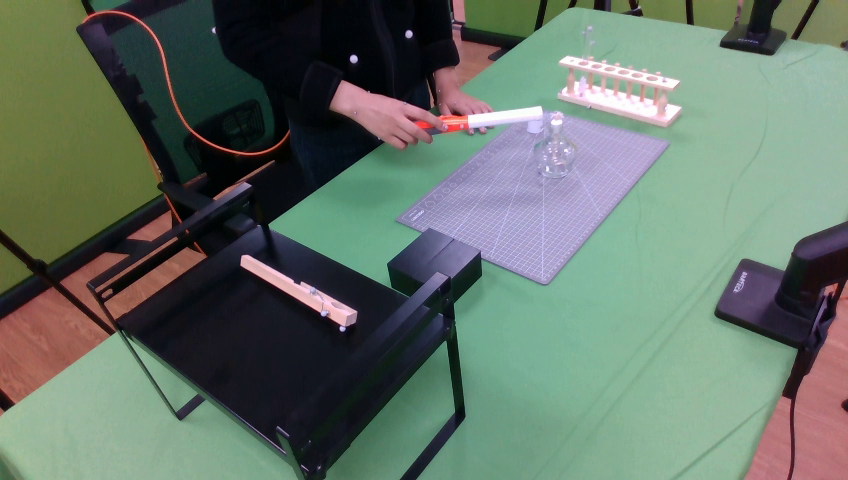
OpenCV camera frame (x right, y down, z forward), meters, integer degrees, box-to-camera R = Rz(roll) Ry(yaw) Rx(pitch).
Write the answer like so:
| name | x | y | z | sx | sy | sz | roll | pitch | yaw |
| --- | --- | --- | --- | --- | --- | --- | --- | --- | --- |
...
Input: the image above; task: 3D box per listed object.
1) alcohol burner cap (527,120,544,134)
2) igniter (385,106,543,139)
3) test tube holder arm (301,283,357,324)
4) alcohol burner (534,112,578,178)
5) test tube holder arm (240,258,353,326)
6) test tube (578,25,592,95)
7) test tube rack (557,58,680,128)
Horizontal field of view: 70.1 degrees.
| name | x | y | z | sx | sy | sz | roll | pitch | yaw |
| --- | --- | --- | --- | --- | --- | --- | --- | --- | --- |
| alcohol burner cap | 0.222 | -0.238 | 1.203 | 0.034 | 0.048 | 0.033 | -5 | 41 | 5 |
| igniter | 0.066 | -0.205 | 1.053 | 0.276 | 0.025 | 0.057 | -6 | 32 | 6 |
| test tube holder arm | -0.105 | 0.066 | 0.638 | 0.087 | 0.015 | 0.010 | 21 | 14 | 33 |
| alcohol burner | 0.232 | -0.170 | 1.066 | 0.078 | 0.119 | 0.077 | -5 | 39 | 5 |
| test tube holder arm | -0.143 | 0.053 | 0.658 | 0.177 | 0.015 | 0.013 | 21 | 14 | 32 |
| test tube | 0.326 | -0.362 | 1.227 | 0.017 | 0.151 | 0.017 | -3 | 44 | 4 |
| test tube rack | 0.395 | -0.309 | 1.230 | 0.240 | 0.085 | 0.067 | 25 | 50 | 33 |
